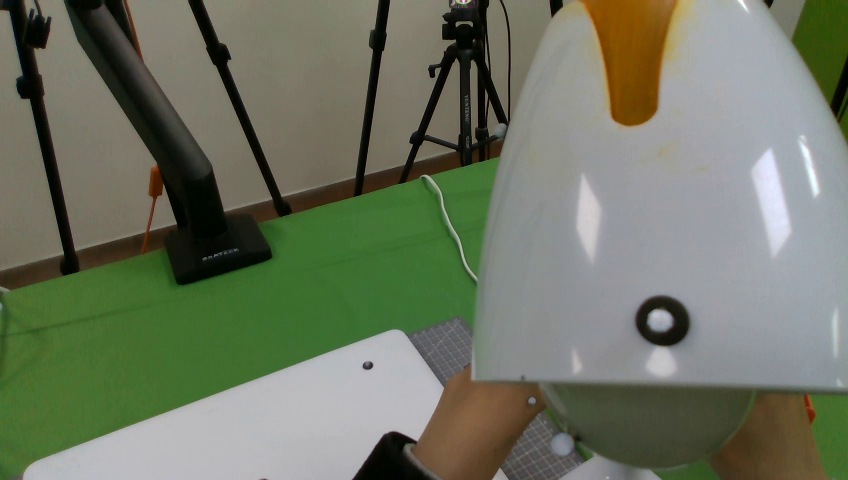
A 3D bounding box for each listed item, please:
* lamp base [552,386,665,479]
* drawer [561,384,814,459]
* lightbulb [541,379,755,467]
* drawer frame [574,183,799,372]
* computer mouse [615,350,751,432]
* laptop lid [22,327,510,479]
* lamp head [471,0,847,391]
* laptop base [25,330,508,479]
[{"bbox_3d":[0.140,0.164,0.396,0.161,0.181,0.177,-2,31,-1],"label":"lamp base"},{"bbox_3d":[0.249,0.090,0.594,0.194,0.074,0.210,9,35,18],"label":"drawer"},{"bbox_3d":[0.065,0.011,0.182,0.059,0.060,0.107,3,75,8],"label":"lightbulb"},{"bbox_3d":[0.287,0.029,0.679,0.201,0.083,0.212,9,35,18],"label":"drawer frame"},{"bbox_3d":[0.235,0.135,0.552,0.117,0.041,0.062,10,32,9],"label":"computer mouse"},{"bbox_3d":[-0.128,0.198,0.490,0.357,0.013,0.239,-17,39,-20],"label":"laptop lid"},{"bbox_3d":[0.072,-0.013,0.184,0.112,0.113,0.122,2,72,7],"label":"lamp head"},{"bbox_3d":[-0.129,0.206,0.498,0.355,0.023,0.233,-18,40,-22],"label":"laptop base"}]
